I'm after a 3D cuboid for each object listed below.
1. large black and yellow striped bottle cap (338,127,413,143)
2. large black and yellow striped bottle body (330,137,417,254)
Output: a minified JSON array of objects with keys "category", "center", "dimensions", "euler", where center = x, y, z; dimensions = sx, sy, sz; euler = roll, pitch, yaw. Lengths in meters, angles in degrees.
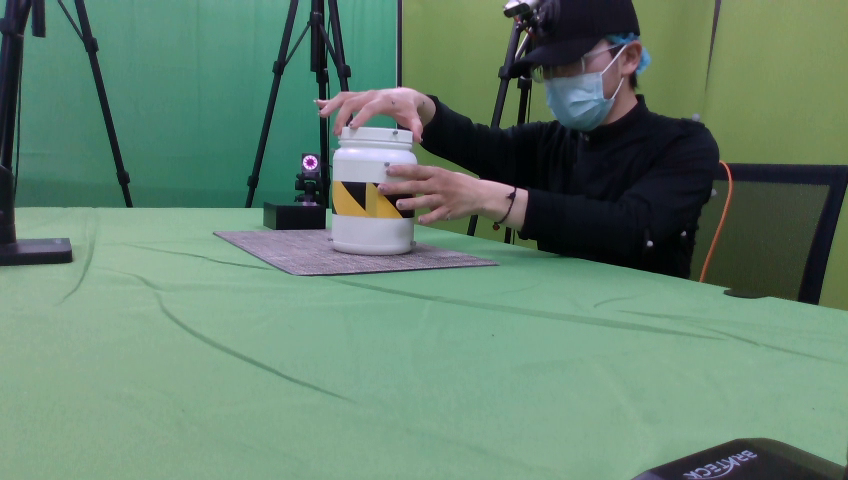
[{"category":"large black and yellow striped bottle cap","center":[-0.073,-0.159,0.919],"dimensions":[0.115,0.019,0.115],"euler":[3,8,0]},{"category":"large black and yellow striped bottle body","center":[-0.077,-0.077,0.929],"dimensions":[0.131,0.184,0.130],"euler":[2,7,0]}]
